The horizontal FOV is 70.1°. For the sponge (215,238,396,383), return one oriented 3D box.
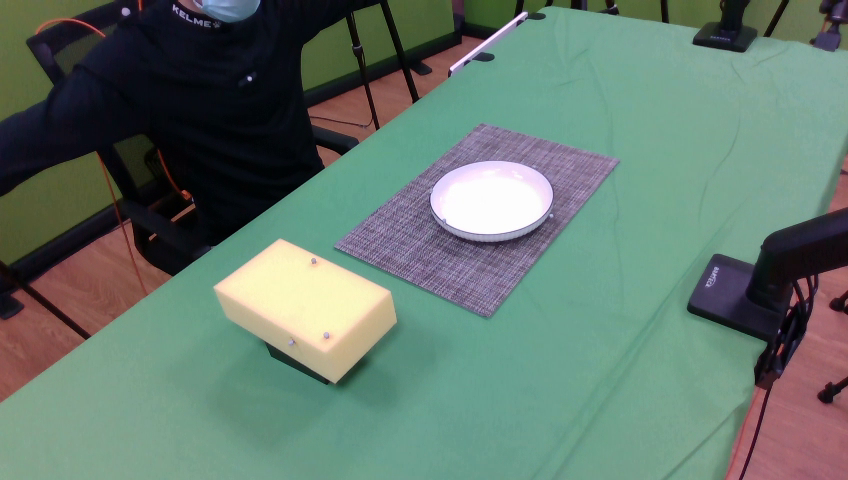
[{"bbox_3d":[-0.154,0.084,0.787,0.205,0.061,0.118,22,49,30],"label":"sponge"}]

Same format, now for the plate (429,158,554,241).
[{"bbox_3d":[0.112,-0.065,1.011,0.207,0.039,0.206,-4,41,4],"label":"plate"}]
